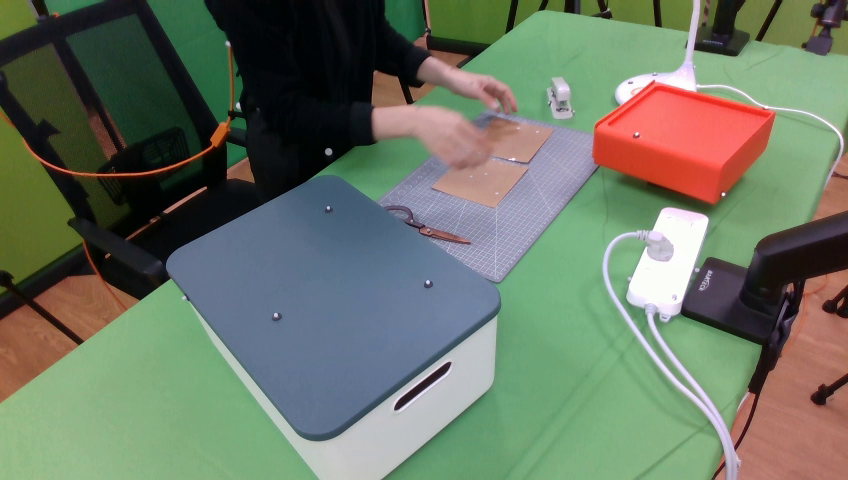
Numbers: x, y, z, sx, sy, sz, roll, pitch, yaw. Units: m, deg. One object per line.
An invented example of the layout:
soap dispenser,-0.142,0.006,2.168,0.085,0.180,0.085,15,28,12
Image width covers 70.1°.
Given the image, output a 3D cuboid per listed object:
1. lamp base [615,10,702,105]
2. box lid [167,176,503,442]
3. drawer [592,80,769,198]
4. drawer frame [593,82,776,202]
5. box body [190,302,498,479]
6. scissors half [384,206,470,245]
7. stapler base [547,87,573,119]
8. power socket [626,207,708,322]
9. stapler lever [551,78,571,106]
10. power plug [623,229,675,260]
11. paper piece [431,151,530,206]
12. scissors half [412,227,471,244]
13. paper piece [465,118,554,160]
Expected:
lamp base,0.484,-0.364,1.211,0.180,0.181,0.159,-15,41,-14
box lid,-0.119,0.047,0.714,0.264,0.015,0.368,-32,47,-27
drawer,0.422,-0.174,1.007,0.210,0.073,0.195,30,52,35
drawer frame,0.428,-0.171,1.006,0.211,0.083,0.202,29,51,36
box body,-0.110,0.103,0.761,0.255,0.161,0.361,-33,46,-27
scissors half,0.001,-0.023,1.006,0.174,0.013,0.040,23,56,25
stapler base,0.289,-0.299,1.286,0.041,0.024,0.130,-1,39,3
power socket,0.360,0.026,0.886,0.072,0.033,0.227,16,46,26
stapler lever,0.287,-0.320,1.270,0.027,0.040,0.117,-1,38,3
power plug,0.327,0.007,0.878,0.072,0.053,0.035,25,51,33
paper piece,0.103,-0.116,1.104,0.135,0.004,0.135,20,47,28
scissors half,-0.007,-0.010,0.993,0.174,0.013,0.040,9,45,14
paper piece,0.171,-0.201,1.195,0.137,0.009,0.136,17,42,27
